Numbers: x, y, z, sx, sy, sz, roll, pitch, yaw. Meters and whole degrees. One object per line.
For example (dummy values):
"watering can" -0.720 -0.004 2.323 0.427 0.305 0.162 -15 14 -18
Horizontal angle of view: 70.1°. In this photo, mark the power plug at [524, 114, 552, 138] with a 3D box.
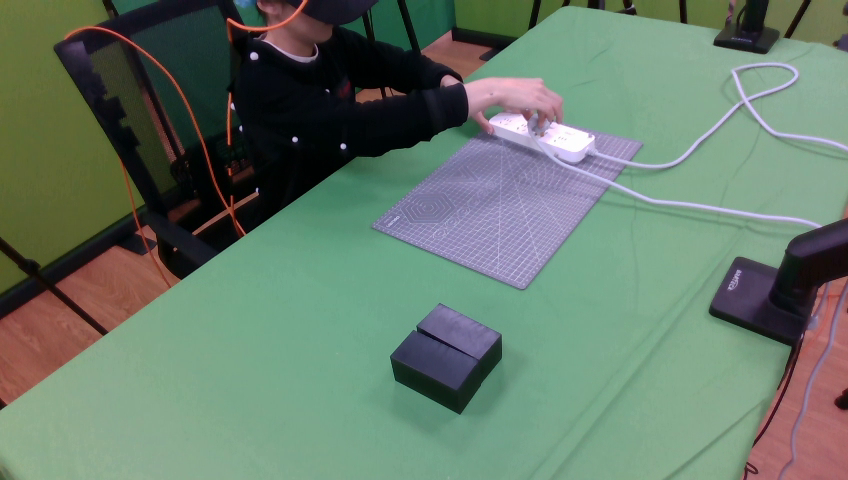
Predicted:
"power plug" 0.207 -0.206 1.129 0.073 0.053 0.035 -32 39 -20

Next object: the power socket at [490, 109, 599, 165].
"power socket" 0.225 -0.201 1.167 0.225 0.033 0.072 28 53 34
